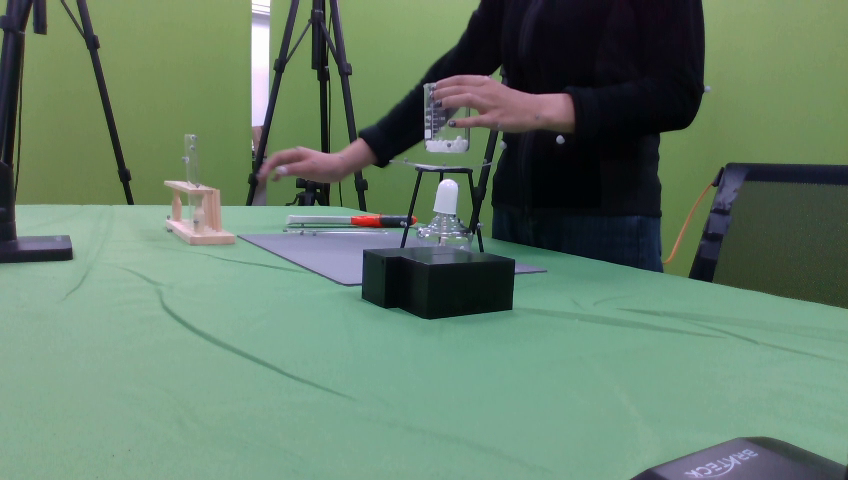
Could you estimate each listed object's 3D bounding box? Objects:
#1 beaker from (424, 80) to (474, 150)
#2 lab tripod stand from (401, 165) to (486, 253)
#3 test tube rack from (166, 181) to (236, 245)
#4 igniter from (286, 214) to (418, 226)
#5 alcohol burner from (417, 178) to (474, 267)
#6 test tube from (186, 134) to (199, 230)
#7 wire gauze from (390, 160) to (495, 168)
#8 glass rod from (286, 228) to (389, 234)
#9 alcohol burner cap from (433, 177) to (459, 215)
[{"bbox_3d":[0.034,-0.186,0.913,0.074,0.100,0.083,-7,11,-41],"label":"beaker"},{"bbox_3d":[0.027,-0.049,0.930,0.148,0.131,0.148,2,9,0],"label":"lab tripod stand"},{"bbox_3d":[-0.383,-0.051,1.024,0.067,0.085,0.241,-2,9,-31],"label":"test tube rack"},{"bbox_3d":[-0.146,-0.043,1.263,0.278,0.025,0.057,-1,-2,-24],"label":"igniter"},{"bbox_3d":[0.029,-0.024,0.810,0.078,0.119,0.078,1,8,0],"label":"alcohol burner"},{"bbox_3d":[-0.360,-0.089,0.946,0.017,0.150,0.017,0,10,0],"label":"test tube"},{"bbox_3d":[0.028,-0.115,0.919,0.122,0.011,0.124,-4,10,-34],"label":"wire gauze"},{"bbox_3d":[-0.154,-0.016,1.101,0.201,0.008,0.008,1,6,-31],"label":"glass rod"},{"bbox_3d":[0.031,-0.060,0.806,0.034,0.048,0.034,8,9,-1],"label":"alcohol burner cap"}]
